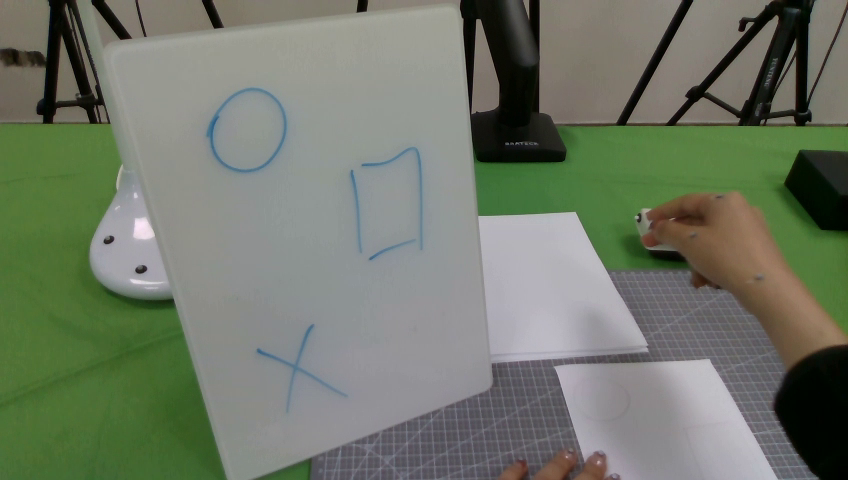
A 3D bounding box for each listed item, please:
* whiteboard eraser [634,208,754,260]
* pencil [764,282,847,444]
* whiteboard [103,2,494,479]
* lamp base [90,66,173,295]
[{"bbox_3d":[0.291,-0.006,0.658,0.113,0.042,0.055,4,39,1],"label":"whiteboard eraser"},{"bbox_3d":[0.343,0.107,0.541,0.012,0.012,0.192,4,41,1],"label":"pencil"},{"bbox_3d":[-0.083,-0.009,0.472,0.218,0.307,0.142,-14,23,-19],"label":"whiteboard"},{"bbox_3d":[-0.263,-0.065,0.582,0.177,0.182,0.160,26,44,29],"label":"lamp base"}]
